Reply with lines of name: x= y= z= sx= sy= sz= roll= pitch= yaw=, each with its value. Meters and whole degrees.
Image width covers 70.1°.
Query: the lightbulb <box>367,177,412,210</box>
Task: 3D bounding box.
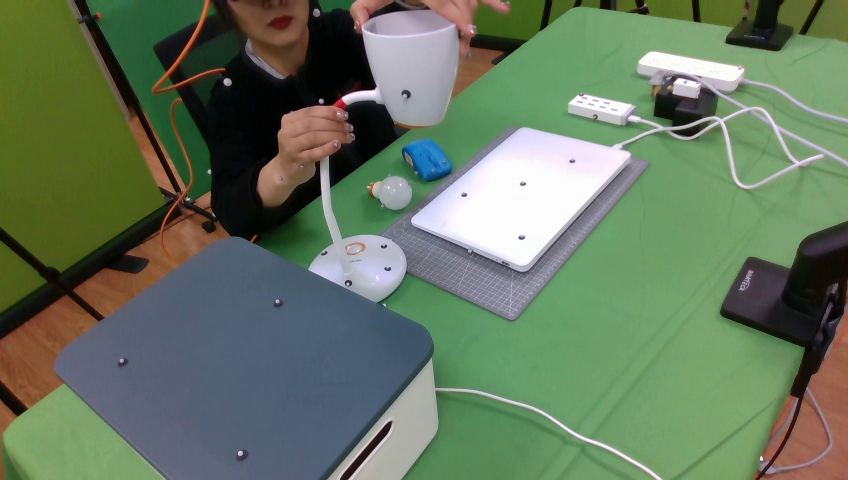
lightbulb: x=-0.066 y=-0.086 z=1.084 sx=0.060 sy=0.060 sz=0.107 roll=-38 pitch=32 yaw=-30

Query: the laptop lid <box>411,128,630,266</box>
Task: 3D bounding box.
laptop lid: x=0.172 y=-0.093 z=1.049 sx=0.239 sy=0.013 sz=0.358 roll=24 pitch=49 yaw=36

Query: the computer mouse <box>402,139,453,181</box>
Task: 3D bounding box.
computer mouse: x=0.005 y=-0.159 z=1.165 sx=0.063 sy=0.041 sz=0.116 roll=-21 pitch=45 yaw=-17

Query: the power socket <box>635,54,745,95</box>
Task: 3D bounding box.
power socket: x=0.564 y=-0.357 z=1.293 sx=0.225 sy=0.033 sz=0.072 roll=24 pitch=51 yaw=33

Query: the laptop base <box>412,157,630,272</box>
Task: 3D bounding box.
laptop base: x=0.176 y=-0.084 z=1.055 sx=0.233 sy=0.023 sz=0.355 roll=21 pitch=48 yaw=36

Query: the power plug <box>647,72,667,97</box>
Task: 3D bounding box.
power plug: x=0.494 y=-0.320 z=1.260 sx=0.073 sy=0.052 sz=0.035 roll=1 pitch=19 yaw=-41

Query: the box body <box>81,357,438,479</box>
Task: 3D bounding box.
box body: x=-0.189 y=0.179 z=0.702 sx=0.361 sy=0.161 sz=0.255 roll=22 pitch=49 yaw=32

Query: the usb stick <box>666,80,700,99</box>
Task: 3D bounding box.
usb stick: x=0.492 y=-0.288 z=1.152 sx=0.058 sy=0.027 sz=0.021 roll=20 pitch=51 yaw=34

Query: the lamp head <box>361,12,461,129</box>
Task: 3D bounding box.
lamp head: x=-0.015 y=-0.191 z=0.699 sx=0.112 sy=0.123 sz=0.112 roll=1 pitch=34 yaw=0

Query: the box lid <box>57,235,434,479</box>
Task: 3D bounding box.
box lid: x=-0.198 y=0.123 z=0.653 sx=0.368 sy=0.015 sz=0.264 roll=22 pitch=49 yaw=32

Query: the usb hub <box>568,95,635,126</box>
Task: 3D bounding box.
usb hub: x=0.360 y=-0.263 z=1.228 sx=0.124 sy=0.025 sz=0.049 roll=24 pitch=49 yaw=34

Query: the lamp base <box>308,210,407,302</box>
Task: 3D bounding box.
lamp base: x=-0.115 y=-0.003 z=0.888 sx=0.161 sy=0.181 sz=0.178 roll=-14 pitch=43 yaw=-4
